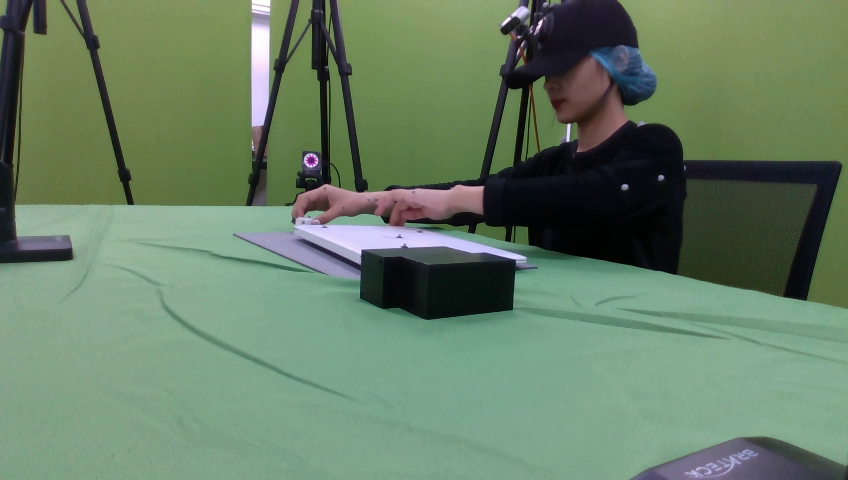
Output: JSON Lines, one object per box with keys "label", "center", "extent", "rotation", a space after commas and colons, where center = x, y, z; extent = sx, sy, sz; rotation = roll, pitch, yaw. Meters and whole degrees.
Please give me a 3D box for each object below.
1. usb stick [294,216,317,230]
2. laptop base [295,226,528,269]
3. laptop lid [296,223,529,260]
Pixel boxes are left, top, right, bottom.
{"label": "usb stick", "center": [-0.216, -0.028, 1.096], "extent": [0.021, 0.027, 0.059], "rotation": [12, 11, 14]}
{"label": "laptop base", "center": [-0.038, 0.010, 0.910], "extent": [0.237, 0.023, 0.352], "rotation": [2, 6, -27]}
{"label": "laptop lid", "center": [-0.036, -0.001, 0.910], "extent": [0.243, 0.013, 0.355], "rotation": [1, 7, -26]}
